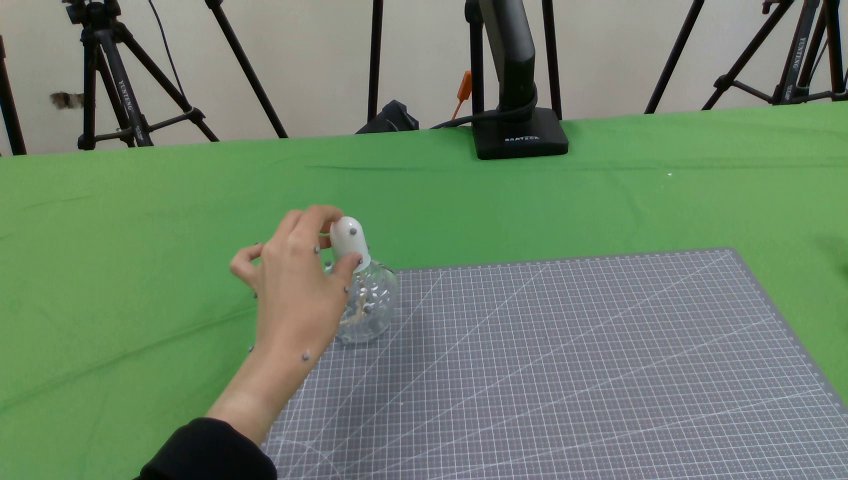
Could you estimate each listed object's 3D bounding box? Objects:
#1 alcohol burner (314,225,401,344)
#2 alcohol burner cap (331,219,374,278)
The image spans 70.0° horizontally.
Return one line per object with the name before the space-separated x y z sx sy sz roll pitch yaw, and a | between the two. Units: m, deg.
alcohol burner | -0.059 0.033 0.526 0.078 0.120 0.077 -1 38 1
alcohol burner cap | -0.061 0.004 0.505 0.034 0.048 0.033 -3 38 3
